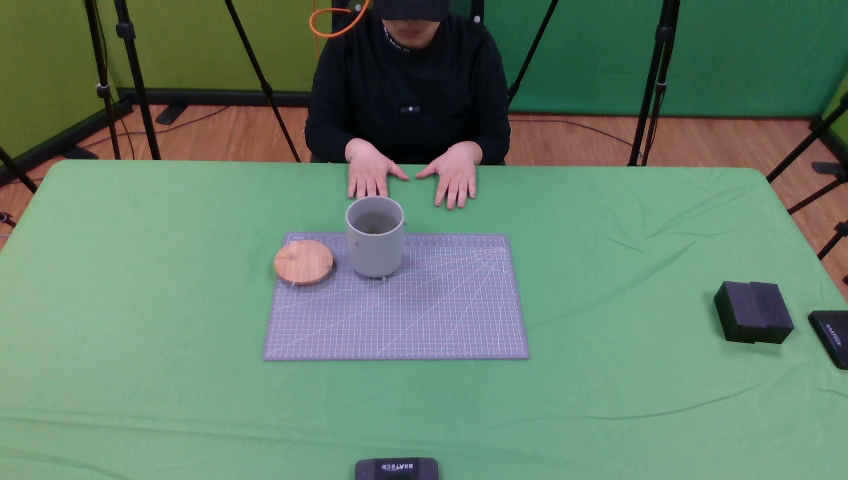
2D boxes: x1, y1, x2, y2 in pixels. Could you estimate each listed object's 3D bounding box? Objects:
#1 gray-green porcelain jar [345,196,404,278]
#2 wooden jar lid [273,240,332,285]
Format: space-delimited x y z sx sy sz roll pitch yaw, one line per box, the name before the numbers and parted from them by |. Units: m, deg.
gray-green porcelain jar | -0.091 -0.001 1.117 0.106 0.127 0.105 2 46 -2
wooden jar lid | -0.227 0.044 1.137 0.108 0.021 0.107 3 47 -3
